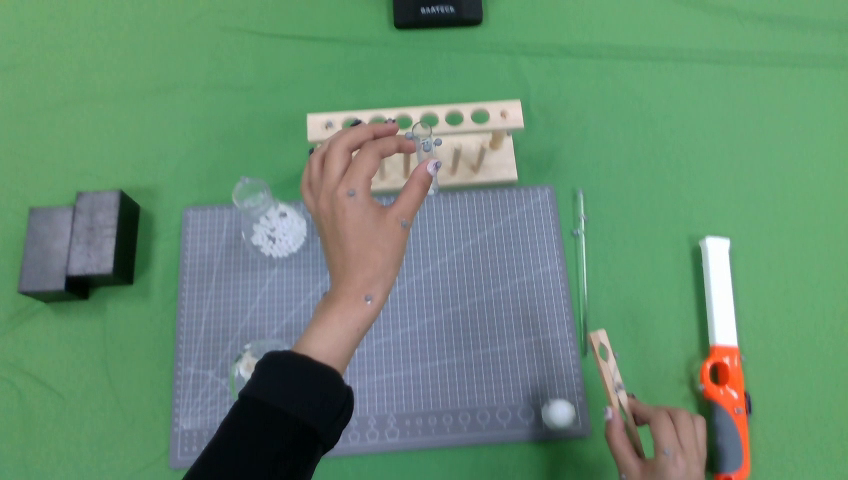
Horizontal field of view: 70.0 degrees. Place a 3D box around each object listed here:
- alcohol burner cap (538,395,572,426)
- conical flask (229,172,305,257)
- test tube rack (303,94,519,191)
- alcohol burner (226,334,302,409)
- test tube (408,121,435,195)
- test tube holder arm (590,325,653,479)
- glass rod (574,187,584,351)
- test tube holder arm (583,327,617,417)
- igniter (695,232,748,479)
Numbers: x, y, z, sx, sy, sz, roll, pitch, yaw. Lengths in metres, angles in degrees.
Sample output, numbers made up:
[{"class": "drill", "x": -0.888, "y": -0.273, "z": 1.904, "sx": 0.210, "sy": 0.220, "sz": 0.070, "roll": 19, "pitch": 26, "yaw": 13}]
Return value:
[{"class": "alcohol burner cap", "x": 0.142, "y": 0.180, "z": 0.644, "sx": 0.034, "sy": 0.048, "sz": 0.033, "roll": 0, "pitch": 71, "yaw": 0}, {"class": "conical flask", "x": -0.177, "y": -0.032, "z": 0.663, "sx": 0.075, "sy": 0.122, "sz": 0.075, "roll": 0, "pitch": 72, "yaw": -1}, {"class": "test tube rack", "x": -0.013, "y": -0.113, "z": 0.714, "sx": 0.242, "sy": 0.085, "sz": 0.066, "roll": -5, "pitch": 72, "yaw": -2}, {"class": "alcohol burner", "x": -0.167, "y": 0.131, "z": 0.616, "sx": 0.078, "sy": 0.120, "sz": 0.077, "roll": 0, "pitch": 71, "yaw": 1}, {"class": "test tube", "x": 0.000, "y": -0.065, "z": 0.514, "sx": 0.017, "sy": 0.151, "sz": 0.017, "roll": -1, "pitch": 78, "yaw": 3}, {"class": "test tube holder arm", "x": 0.194, "y": 0.169, "z": 0.586, "sx": 0.013, "sy": 0.015, "sz": 0.178, "roll": -19, "pitch": 83, "yaw": 3}, {"class": "glass rod", "x": 0.182, "y": 0.031, "z": 0.712, "sx": 0.008, "sy": 0.008, "sz": 0.198, "roll": 3, "pitch": 75, "yaw": 0}, {"class": "test tube holder arm", "x": 0.174, "y": 0.128, "z": 0.592, "sx": 0.010, "sy": 0.015, "sz": 0.087, "roll": -18, "pitch": 83, "yaw": 4}, {"class": "igniter", "x": 0.328, "y": 0.124, "z": 0.676, "sx": 0.057, "sy": 0.025, "sz": 0.275, "roll": 7, "pitch": 72, "yaw": -9}]
